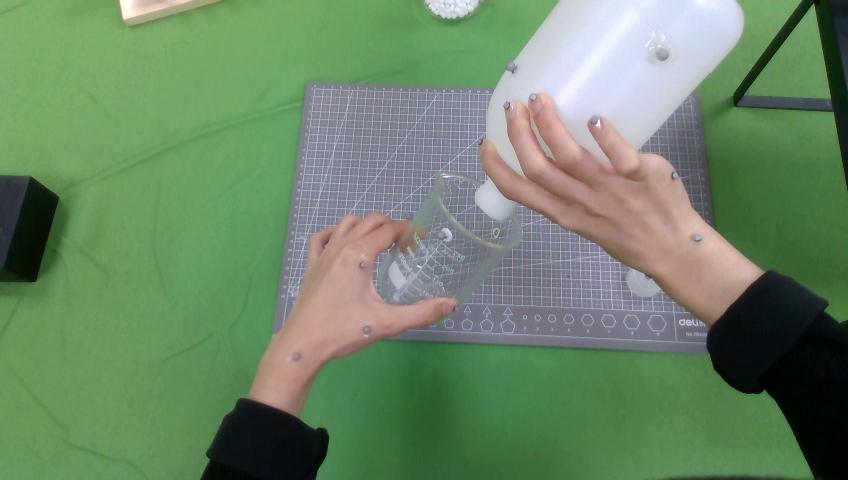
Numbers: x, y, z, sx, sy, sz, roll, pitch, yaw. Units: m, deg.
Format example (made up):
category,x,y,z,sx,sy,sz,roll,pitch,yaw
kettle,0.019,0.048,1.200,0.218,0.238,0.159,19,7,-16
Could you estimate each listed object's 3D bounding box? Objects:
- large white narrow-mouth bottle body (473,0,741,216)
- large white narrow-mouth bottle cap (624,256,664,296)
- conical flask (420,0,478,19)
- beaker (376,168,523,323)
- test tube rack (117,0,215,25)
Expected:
category,x,y,z,sx,sy,sz,roll,pitch,yaw
large white narrow-mouth bottle body,0.099,-0.094,0.398,0.101,0.102,0.195,46,118,17
large white narrow-mouth bottle cap,0.221,0.037,0.608,0.038,0.024,0.037,-1,71,3
conical flask,0.029,-0.321,0.692,0.075,0.122,0.075,-1,69,2
beaker,0.013,0.007,0.456,0.083,0.100,0.074,49,35,18
test tube rack,-0.265,-0.345,0.727,0.242,0.086,0.066,-18,70,-5
